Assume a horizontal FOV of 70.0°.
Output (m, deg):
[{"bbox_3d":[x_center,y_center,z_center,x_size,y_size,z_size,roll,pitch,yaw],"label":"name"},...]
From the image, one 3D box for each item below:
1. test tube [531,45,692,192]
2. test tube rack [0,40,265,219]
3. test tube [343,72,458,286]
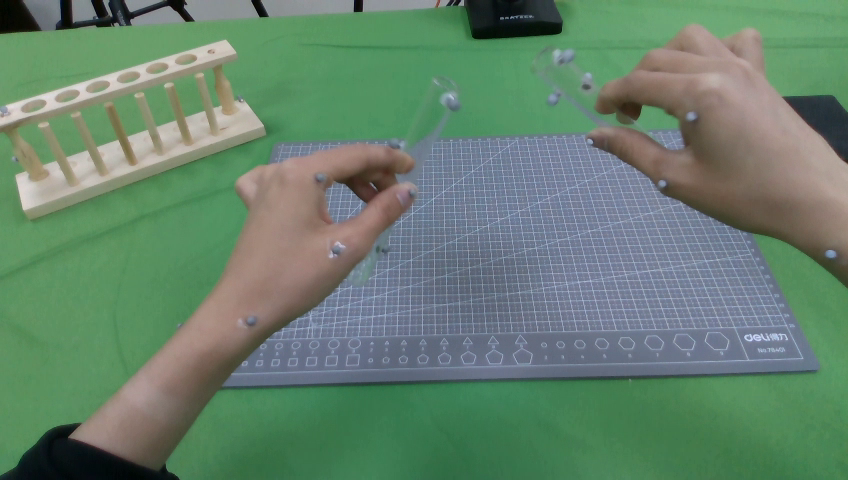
[{"bbox_3d":[0.112,-0.063,0.345,0.017,0.152,0.017,-29,48,38],"label":"test tube"},{"bbox_3d":[-0.296,-0.116,0.613,0.242,0.086,0.066,-25,50,-20],"label":"test tube rack"},{"bbox_3d":[-0.018,-0.028,0.352,0.017,0.151,0.017,19,34,-13],"label":"test tube"}]
